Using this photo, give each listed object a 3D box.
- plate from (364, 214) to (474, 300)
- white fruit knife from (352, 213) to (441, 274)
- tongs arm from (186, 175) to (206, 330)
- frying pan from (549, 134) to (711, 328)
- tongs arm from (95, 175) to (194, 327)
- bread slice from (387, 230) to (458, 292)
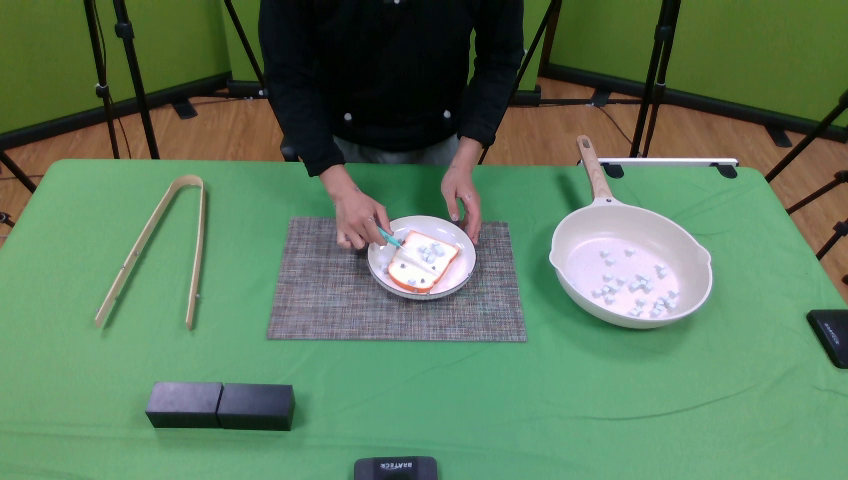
[{"bbox_3d":[-0.010,0.036,1.147,0.208,0.039,0.206,2,46,-2],"label":"plate"},{"bbox_3d":[-0.052,0.007,1.127,0.207,0.027,0.016,33,85,13],"label":"white fruit knife"},{"bbox_3d":[-0.436,0.009,1.151,0.028,0.028,0.385,-8,47,-8],"label":"tongs arm"},{"bbox_3d":[0.372,-0.035,1.203,0.307,0.103,0.484,-1,55,-6],"label":"frying pan"},{"bbox_3d":[-0.516,0.006,1.142,0.051,0.026,0.382,4,45,-2],"label":"tongs arm"},{"bbox_3d":[-0.007,0.043,1.142,0.107,0.018,0.134,18,47,14],"label":"bread slice"}]
